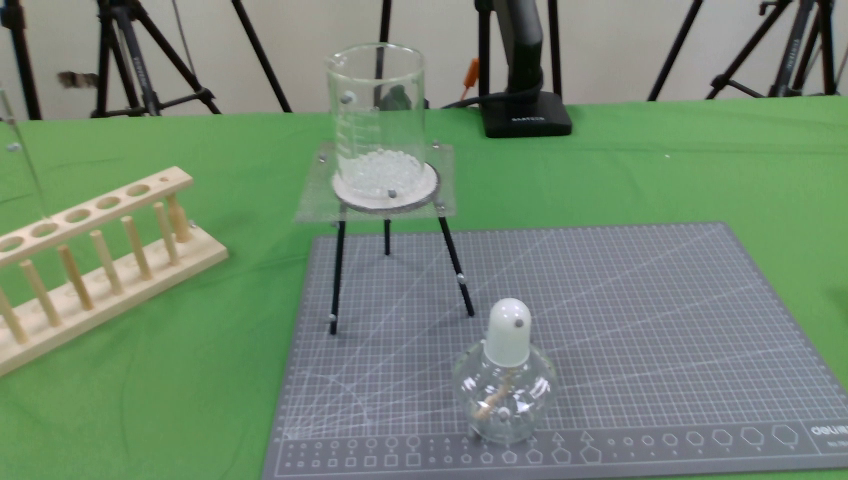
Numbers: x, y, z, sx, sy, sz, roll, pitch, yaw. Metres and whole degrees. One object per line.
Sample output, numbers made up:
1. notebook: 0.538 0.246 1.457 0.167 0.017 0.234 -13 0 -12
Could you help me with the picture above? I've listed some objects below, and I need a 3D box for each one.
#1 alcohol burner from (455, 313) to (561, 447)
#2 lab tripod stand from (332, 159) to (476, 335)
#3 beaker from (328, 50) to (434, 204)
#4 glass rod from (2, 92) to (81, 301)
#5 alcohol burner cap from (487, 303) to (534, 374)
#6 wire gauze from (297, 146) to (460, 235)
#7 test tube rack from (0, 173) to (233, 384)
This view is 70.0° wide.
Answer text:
1. alcohol burner: 0.060 0.093 0.433 0.078 0.120 0.077 -1 39 1
2. lab tripod stand: -0.022 0.006 0.536 0.148 0.132 0.147 0 36 0
3. beaker: -0.034 -0.086 0.467 0.083 0.101 0.074 23 43 27
4. glass rod: -0.334 -0.030 0.532 0.008 0.201 0.008 0 29 1
5. alcohol burner cap: 0.060 0.064 0.411 0.034 0.048 0.033 1 38 0
6. wire gauze: -0.033 -0.045 0.495 0.121 0.011 0.124 0 39 2
7. test tube rack: -0.310 0.030 0.562 0.066 0.086 0.242 30 47 35
